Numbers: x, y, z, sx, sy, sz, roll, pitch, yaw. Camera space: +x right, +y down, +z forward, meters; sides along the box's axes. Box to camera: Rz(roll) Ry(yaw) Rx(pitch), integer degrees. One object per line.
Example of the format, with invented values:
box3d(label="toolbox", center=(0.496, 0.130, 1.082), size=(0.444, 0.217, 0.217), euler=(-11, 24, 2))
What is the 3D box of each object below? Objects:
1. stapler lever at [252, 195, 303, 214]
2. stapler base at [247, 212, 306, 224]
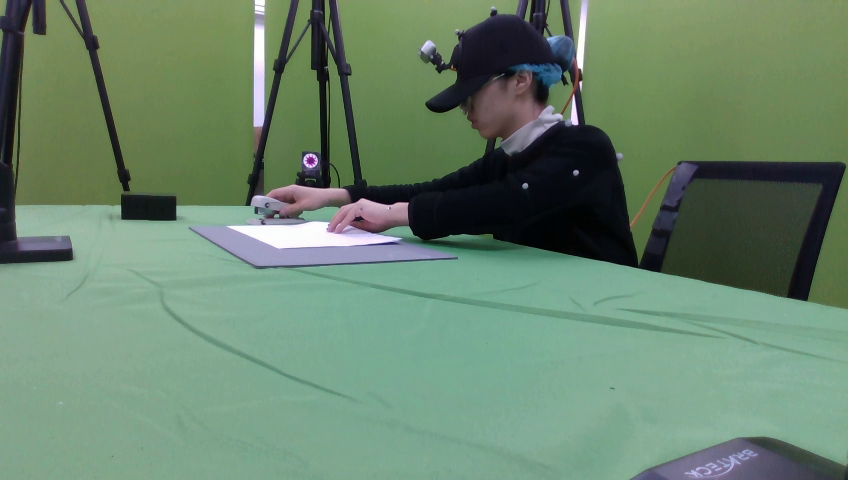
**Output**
box3d(label="stapler lever", center=(-0.307, -0.073, 1.271), size=(0.026, 0.040, 0.119), euler=(11, 10, 36))
box3d(label="stapler base", center=(-0.309, -0.048, 1.273), size=(0.041, 0.024, 0.131), euler=(11, 9, 36))
